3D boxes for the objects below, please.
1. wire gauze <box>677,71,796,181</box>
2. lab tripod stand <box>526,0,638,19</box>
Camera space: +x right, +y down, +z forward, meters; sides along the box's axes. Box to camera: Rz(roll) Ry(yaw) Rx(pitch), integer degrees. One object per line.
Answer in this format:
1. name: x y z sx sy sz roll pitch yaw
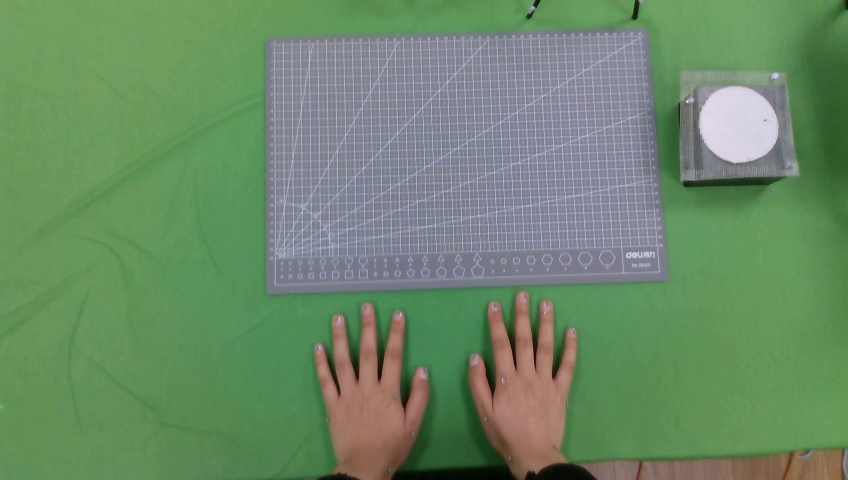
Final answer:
1. wire gauze: 0.334 -0.124 0.655 0.121 0.011 0.124 1 81 2
2. lab tripod stand: 0.189 -0.310 0.665 0.148 0.132 0.148 0 81 -3
